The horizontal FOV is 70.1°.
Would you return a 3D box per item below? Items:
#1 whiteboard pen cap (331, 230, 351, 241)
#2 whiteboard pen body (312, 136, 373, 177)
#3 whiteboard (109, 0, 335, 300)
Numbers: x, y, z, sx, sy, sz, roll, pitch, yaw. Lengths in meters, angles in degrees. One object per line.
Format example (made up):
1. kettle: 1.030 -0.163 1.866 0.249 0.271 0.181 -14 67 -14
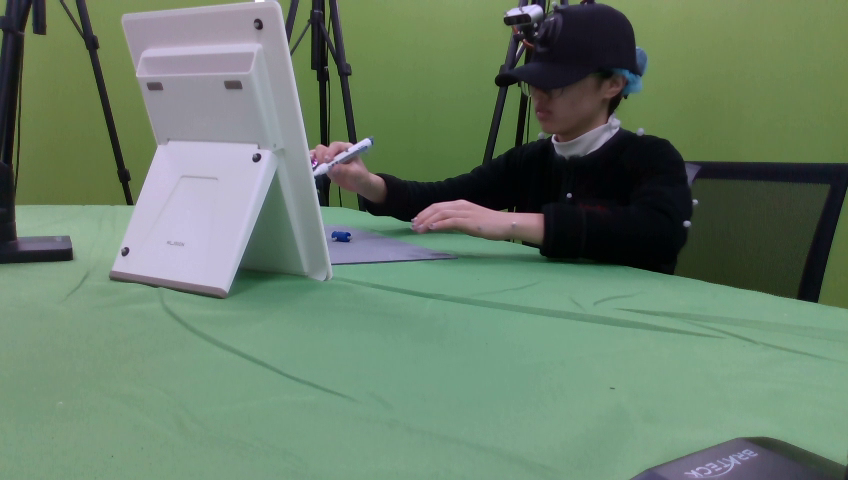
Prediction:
1. whiteboard pen cap: -0.139 -0.008 1.011 0.033 0.018 0.018 4 7 36
2. whiteboard pen body: -0.138 -0.139 1.014 0.017 0.017 0.141 10 39 47
3. whiteboard: -0.247 -0.072 0.624 0.216 0.305 0.144 6 28 26
